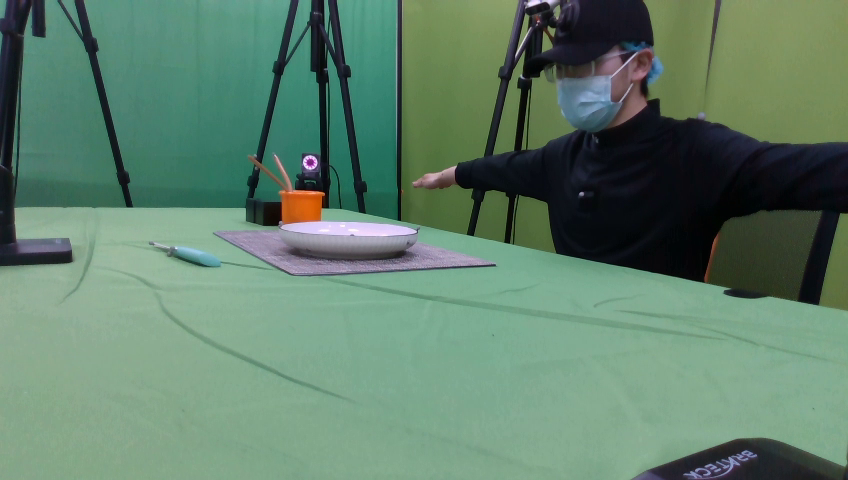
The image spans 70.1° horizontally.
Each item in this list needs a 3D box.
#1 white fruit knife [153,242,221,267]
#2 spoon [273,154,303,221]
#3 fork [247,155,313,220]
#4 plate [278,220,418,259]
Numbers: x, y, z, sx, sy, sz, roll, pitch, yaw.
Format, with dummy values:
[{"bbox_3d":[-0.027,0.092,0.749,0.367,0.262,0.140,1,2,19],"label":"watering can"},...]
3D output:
[{"bbox_3d":[-0.335,0.016,0.832,0.206,0.016,0.027,8,-19,47],"label":"white fruit knife"},{"bbox_3d":[-0.280,-0.107,1.247,0.021,0.193,0.042,-28,-29,9],"label":"spoon"},{"bbox_3d":[-0.275,-0.096,1.188,0.028,0.018,0.208,27,-20,48],"label":"fork"},{"bbox_3d":[-0.114,-0.002,0.914,0.209,0.038,0.209,2,7,0],"label":"plate"}]
